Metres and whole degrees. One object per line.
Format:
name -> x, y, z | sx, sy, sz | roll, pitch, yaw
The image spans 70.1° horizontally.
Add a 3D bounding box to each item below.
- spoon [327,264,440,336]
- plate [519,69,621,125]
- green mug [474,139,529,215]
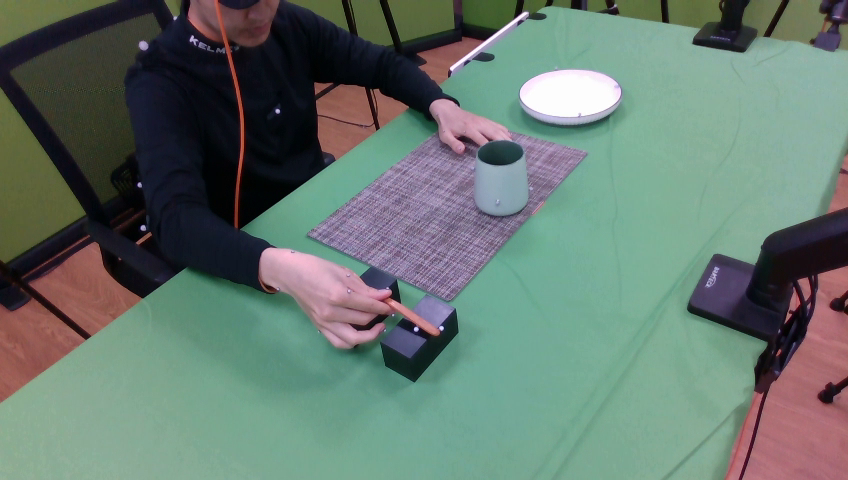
spoon -> -0.056, 0.079, 0.806 | 0.192, 0.022, 0.042 | 25, 38, 32
plate -> 0.300, -0.293, 1.253 | 0.209, 0.038, 0.208 | -4, 41, 4
green mug -> 0.126, -0.113, 1.013 | 0.092, 0.105, 0.124 | -8, 41, 0
